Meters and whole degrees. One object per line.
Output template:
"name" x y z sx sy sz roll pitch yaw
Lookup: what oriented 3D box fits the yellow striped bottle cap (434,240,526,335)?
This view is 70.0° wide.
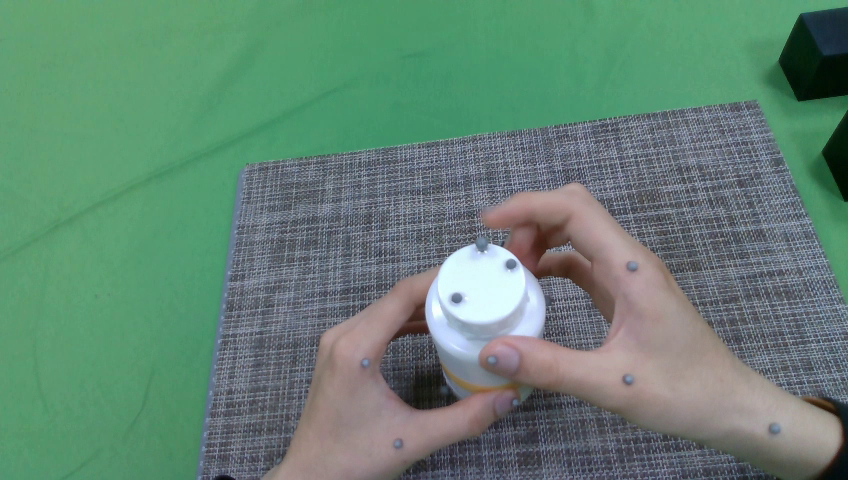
"yellow striped bottle cap" 0.027 0.022 0.294 0.044 0.019 0.044 -5 57 8

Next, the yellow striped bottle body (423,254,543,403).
"yellow striped bottle body" 0.033 0.047 0.340 0.063 0.121 0.062 -2 62 5
